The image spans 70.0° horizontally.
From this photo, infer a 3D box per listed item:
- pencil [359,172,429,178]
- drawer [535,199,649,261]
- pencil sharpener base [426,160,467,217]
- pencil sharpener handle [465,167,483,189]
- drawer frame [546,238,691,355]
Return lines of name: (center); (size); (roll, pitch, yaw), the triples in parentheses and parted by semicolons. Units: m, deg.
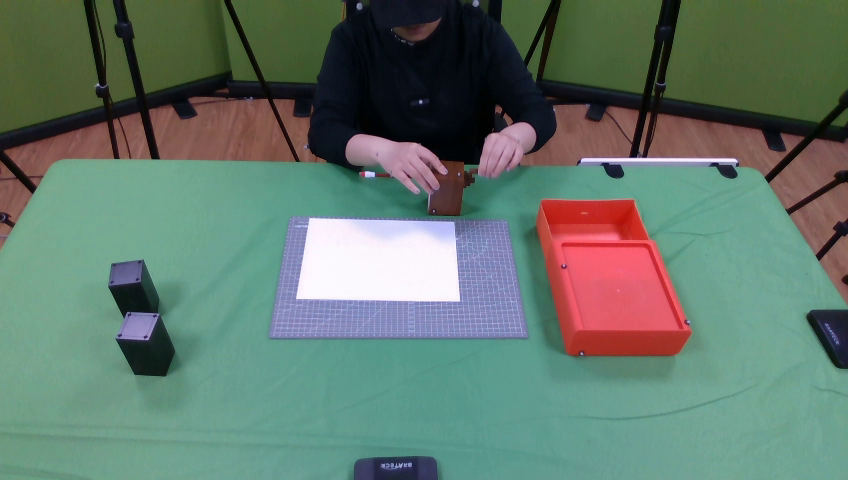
pencil: (-0.034, -0.130, 1.223); (0.194, 0.012, 0.012); (0, 46, -2)
drawer: (0.332, 0.015, 1.169); (0.195, 0.073, 0.210); (0, 46, -5)
pencil sharpener base: (0.046, -0.104, 1.244); (0.077, 0.107, 0.061); (3, 46, -1)
pencil sharpener handle: (0.099, -0.126, 1.210); (0.030, 0.068, 0.036); (3, 69, -1)
drawer frame: (0.338, 0.097, 1.086); (0.202, 0.083, 0.212); (0, 46, -4)
